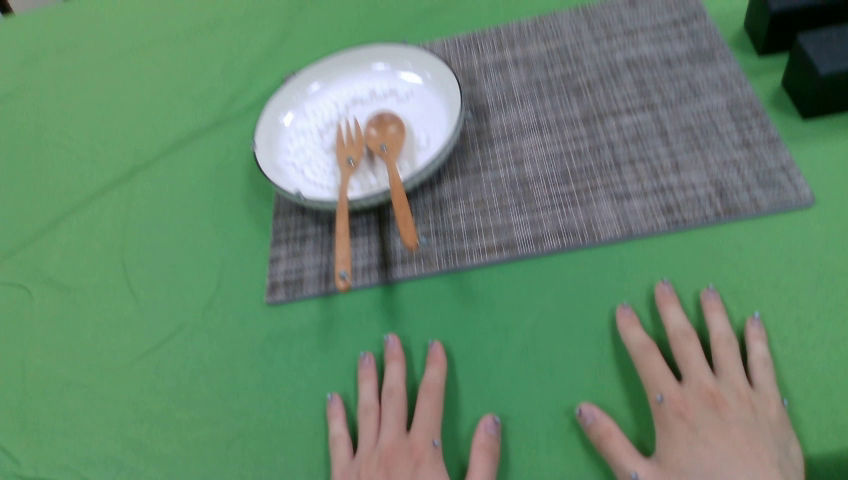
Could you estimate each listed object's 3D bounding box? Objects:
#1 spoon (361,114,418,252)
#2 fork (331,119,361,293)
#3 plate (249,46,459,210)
[{"bbox_3d":[-0.029,-0.056,0.526,0.041,0.022,0.191,-16,40,1],"label":"spoon"},{"bbox_3d":[-0.070,-0.038,0.525,0.028,0.019,0.205,-10,45,6],"label":"fork"},{"bbox_3d":[-0.066,-0.108,0.592,0.207,0.039,0.205,-7,54,10],"label":"plate"}]
